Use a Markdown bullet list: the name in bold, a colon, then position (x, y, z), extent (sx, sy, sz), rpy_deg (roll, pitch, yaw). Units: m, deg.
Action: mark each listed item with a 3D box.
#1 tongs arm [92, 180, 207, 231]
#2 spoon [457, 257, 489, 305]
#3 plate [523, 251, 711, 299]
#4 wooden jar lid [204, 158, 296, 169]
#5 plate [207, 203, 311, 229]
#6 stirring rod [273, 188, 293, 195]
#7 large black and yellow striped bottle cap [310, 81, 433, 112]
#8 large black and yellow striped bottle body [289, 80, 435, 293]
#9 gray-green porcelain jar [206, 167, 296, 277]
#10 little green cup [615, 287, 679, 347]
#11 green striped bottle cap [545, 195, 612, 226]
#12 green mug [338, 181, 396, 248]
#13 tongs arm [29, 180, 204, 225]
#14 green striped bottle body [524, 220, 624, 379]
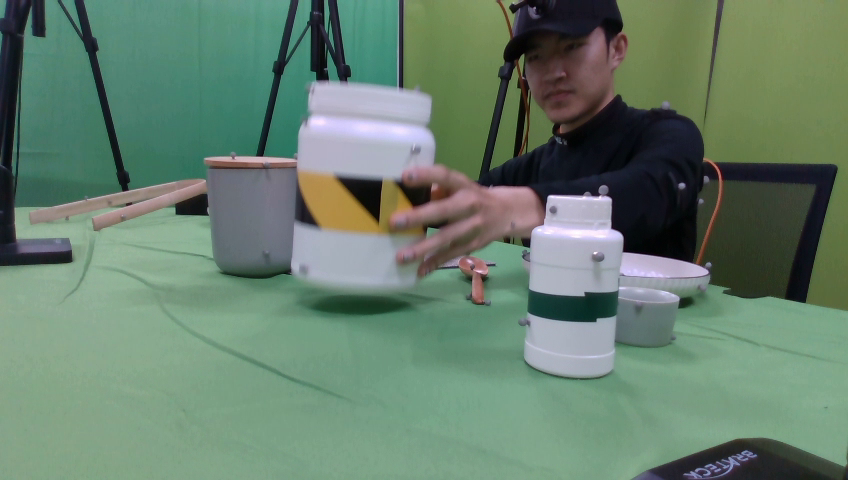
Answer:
- **tongs arm**: position (-0.534, -0.076, 1.221), extent (0.028, 0.028, 0.388), rpy_deg (-2, 15, 12)
- **spoon**: position (0.059, 0.044, 0.696), extent (0.041, 0.021, 0.194), rpy_deg (21, 7, 0)
- **plate**: position (0.219, 0.041, 0.706), extent (0.209, 0.038, 0.209), rpy_deg (2, 7, 0)
- **wooden jar lid**: position (-0.202, -0.086, 0.714), extent (0.108, 0.020, 0.108), rpy_deg (3, 11, 0)
- **plate**: position (-0.342, -0.050, 1.259), extent (0.208, 0.039, 0.207), rpy_deg (2, 7, 0)
- **stirring rod**: position (-0.353, -0.122, 1.519), extent (0.006, 0.014, 0.176), rpy_deg (1, 7, 2)
- **large black and yellow striped bottle cap**: position (-0.048, -0.133, 0.564), extent (0.115, 0.019, 0.115), rpy_deg (4, 9, 0)
- **large black and yellow striped bottle body**: position (-0.058, -0.052, 0.577), extent (0.131, 0.184, 0.130), rpy_deg (6, 9, -1)
- **gray-green porcelain jar**: position (-0.201, -0.024, 0.724), extent (0.106, 0.126, 0.106), rpy_deg (-1, 9, 1)
- **little green cup**: position (0.180, 0.064, 0.506), extent (0.061, 0.038, 0.061), rpy_deg (1, 8, 0)
- **green striped bottle cap**: position (0.106, -0.020, 0.415), extent (0.044, 0.020, 0.044), rpy_deg (2, 4, 0)
- **green mug**: position (-0.098, -0.044, 0.995), extent (0.093, 0.105, 0.125), rpy_deg (-1, 7, -21)
- **tongs arm**: position (-0.609, -0.083, 1.245), extent (0.050, 0.026, 0.386), rpy_deg (4, 16, 23)
- **green striped bottle body**: position (0.104, 0.030, 0.422), extent (0.063, 0.119, 0.063), rpy_deg (2, 8, 0)
